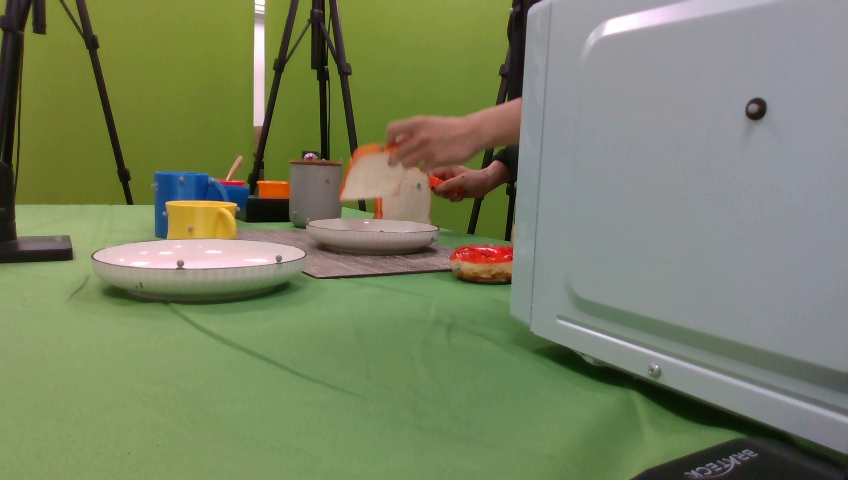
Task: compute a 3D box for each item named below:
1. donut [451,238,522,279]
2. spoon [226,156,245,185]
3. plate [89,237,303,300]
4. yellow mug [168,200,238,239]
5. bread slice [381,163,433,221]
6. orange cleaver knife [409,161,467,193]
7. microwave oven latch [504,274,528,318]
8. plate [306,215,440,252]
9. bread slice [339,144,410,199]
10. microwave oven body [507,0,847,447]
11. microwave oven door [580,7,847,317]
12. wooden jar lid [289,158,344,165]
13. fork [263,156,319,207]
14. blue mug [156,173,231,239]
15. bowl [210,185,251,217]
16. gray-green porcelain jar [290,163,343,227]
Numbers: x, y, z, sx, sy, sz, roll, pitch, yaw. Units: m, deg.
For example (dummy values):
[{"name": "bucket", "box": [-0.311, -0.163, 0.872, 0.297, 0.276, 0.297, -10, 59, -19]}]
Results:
[{"name": "donut", "box": [0.082, 0.022, 0.745, 0.099, 0.048, 0.099, 1, 5, 0]}, {"name": "spoon", "box": [-0.477, -0.145, 1.492, 0.041, 0.022, 0.193, 0, 51, 12]}, {"name": "plate", "box": [-0.233, 0.029, 0.637, 0.208, 0.039, 0.207, 2, 7, 0]}, {"name": "yellow mug", "box": [-0.320, -0.023, 0.904, 0.130, 0.064, 0.100, 9, 10, 36]}, {"name": "bread slice", "box": [-0.035, -0.076, 1.123, 0.107, 0.134, 0.018, -3, 0, -26]}, {"name": "orange cleaver knife", "box": [-0.007, -0.122, 1.238, 0.212, 0.077, 0.012, 21, 5, -28]}, {"name": "microwave oven latch", "box": [0.100, 0.041, 0.471, 0.079, 0.029, 0.030, -1, 8, -28]}, {"name": "plate", "box": [-0.079, -0.011, 0.950, 0.209, 0.038, 0.209, 2, 8, 0]}, {"name": "bread slice", "box": [-0.076, -0.109, 0.963, 0.105, 0.019, 0.131, -7, -24, -21]}, {"name": "microwave oven body", "box": [0.331, -0.042, 0.425, 0.444, 0.260, 0.324, -2, 8, -31]}, {"name": "microwave oven door", "box": [0.294, -0.067, 0.570, 0.358, 0.243, 0.039, -3, 9, -31]}, {"name": "wooden jar lid", "box": [-0.215, -0.153, 1.212, 0.108, 0.020, 0.108, 2, 5, 0]}, {"name": "fork", "box": [-0.331, -0.144, 1.505, 0.207, 0.018, 0.028, -42, -20, 22]}, {"name": "blue mug", "box": [-0.381, -0.057, 1.004, 0.117, 0.106, 0.082, 0, 8, -12]}, {"name": "bowl", "box": [-0.408, -0.064, 1.155, 0.151, 0.077, 0.151, 2, 8, 0]}, {"name": "gray-green porcelain jar", "box": [-0.217, -0.091, 1.221, 0.106, 0.126, 0.106, 2, 7, 0]}]
